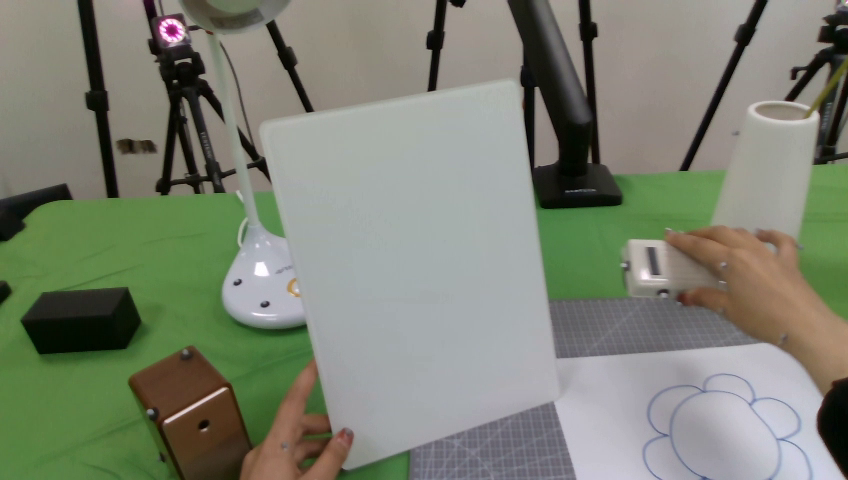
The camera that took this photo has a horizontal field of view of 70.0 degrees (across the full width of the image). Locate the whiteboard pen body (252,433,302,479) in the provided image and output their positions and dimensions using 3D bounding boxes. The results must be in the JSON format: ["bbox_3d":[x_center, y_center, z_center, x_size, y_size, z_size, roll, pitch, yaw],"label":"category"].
[{"bbox_3d":[-0.144,0.212,0.496,0.017,0.017,0.140,10,33,21],"label":"whiteboard pen body"}]

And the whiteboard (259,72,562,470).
[{"bbox_3d":[-0.014,0.017,0.579,0.218,0.307,0.143,-14,15,-13],"label":"whiteboard"}]

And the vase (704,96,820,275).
[{"bbox_3d":[0.390,-0.059,0.696,0.098,0.201,0.097,-2,33,2],"label":"vase"}]

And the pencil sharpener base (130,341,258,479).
[{"bbox_3d":[-0.195,0.152,0.518,0.061,0.108,0.076,-29,40,-32],"label":"pencil sharpener base"}]

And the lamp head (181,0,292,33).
[{"bbox_3d":[-0.179,-0.257,0.521,0.112,0.113,0.122,-25,63,-29],"label":"lamp head"}]

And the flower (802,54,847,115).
[{"bbox_3d":[0.395,-0.120,0.638,0.044,0.364,0.038,-14,51,-27],"label":"flower"}]

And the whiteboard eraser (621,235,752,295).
[{"bbox_3d":[0.249,0.025,0.582,0.113,0.042,0.055,1,57,0],"label":"whiteboard eraser"}]

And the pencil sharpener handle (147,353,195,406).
[{"bbox_3d":[-0.229,0.122,0.545,0.036,0.068,0.030,-36,43,-27],"label":"pencil sharpener handle"}]

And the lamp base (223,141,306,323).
[{"bbox_3d":[-0.181,-0.019,0.715,0.177,0.182,0.160,22,41,38],"label":"lamp base"}]
